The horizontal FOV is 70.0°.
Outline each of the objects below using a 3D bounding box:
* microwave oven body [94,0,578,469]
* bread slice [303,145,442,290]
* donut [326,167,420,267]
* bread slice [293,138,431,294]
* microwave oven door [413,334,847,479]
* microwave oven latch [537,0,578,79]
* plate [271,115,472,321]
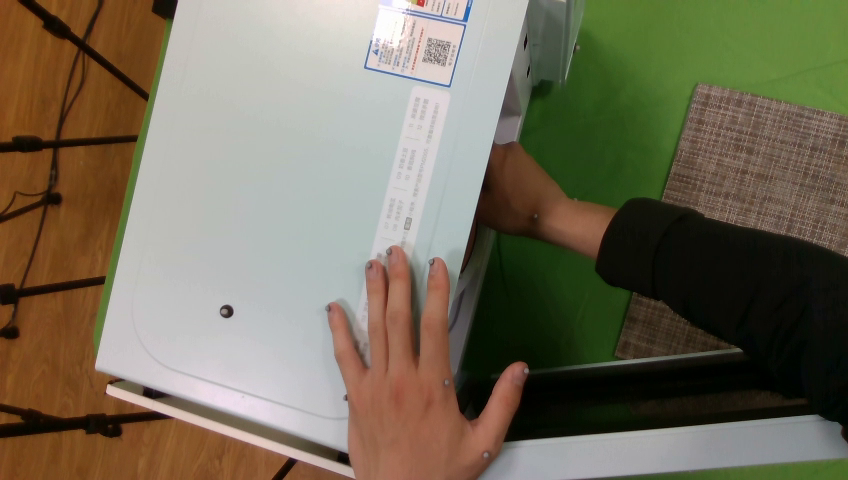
[{"bbox_3d":[-0.065,-0.076,0.570,0.325,0.260,0.442,14,93,10],"label":"microwave oven body"},{"bbox_3d":[-0.061,-0.029,0.616,0.107,0.018,0.134,-32,81,-1],"label":"bread slice"},{"bbox_3d":[-0.051,-0.023,0.594,0.099,0.048,0.099,0,91,17],"label":"donut"},{"bbox_3d":[-0.068,-0.026,0.566,0.105,0.019,0.131,-27,87,14],"label":"bread slice"},{"bbox_3d":[0.187,0.138,0.519,0.355,0.244,0.039,-10,88,11],"label":"microwave oven door"},{"bbox_3d":[0.138,-0.211,0.629,0.030,0.029,0.079,15,94,10],"label":"microwave oven latch"},{"bbox_3d":[-0.053,-0.022,0.622,0.207,0.039,0.207,0,90,11],"label":"plate"}]
